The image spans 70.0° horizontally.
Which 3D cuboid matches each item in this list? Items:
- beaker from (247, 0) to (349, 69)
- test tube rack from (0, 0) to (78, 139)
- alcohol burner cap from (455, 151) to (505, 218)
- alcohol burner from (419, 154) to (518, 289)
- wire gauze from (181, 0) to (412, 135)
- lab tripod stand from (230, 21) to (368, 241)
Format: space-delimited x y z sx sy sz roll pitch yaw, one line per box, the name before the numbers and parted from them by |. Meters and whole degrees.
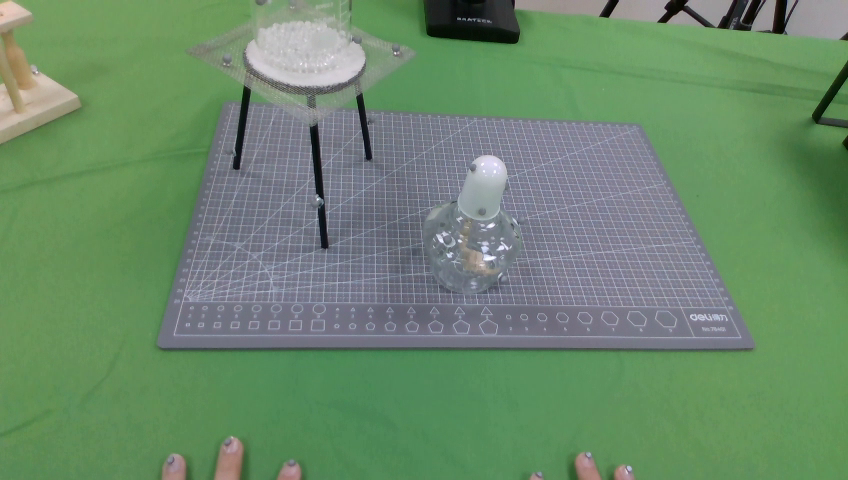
beaker | -0.088 -0.176 0.415 0.073 0.101 0.084 38 54 23
test tube rack | -0.425 -0.110 0.493 0.066 0.086 0.242 31 50 19
alcohol burner cap | 0.042 -0.042 0.432 0.034 0.048 0.033 4 51 -5
alcohol burner | 0.037 -0.018 0.459 0.078 0.120 0.077 6 45 -6
wire gauze | -0.090 -0.138 0.447 0.124 0.011 0.121 34 53 16
lab tripod stand | -0.095 -0.094 0.494 0.149 0.132 0.147 6 47 -6
